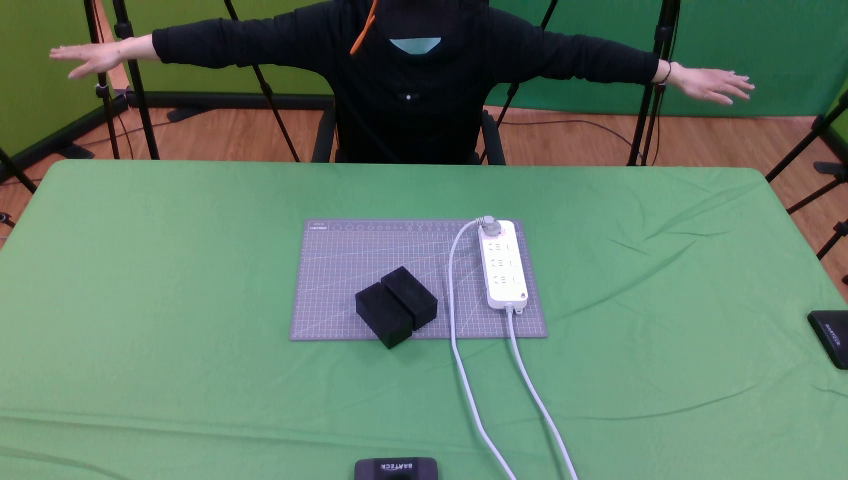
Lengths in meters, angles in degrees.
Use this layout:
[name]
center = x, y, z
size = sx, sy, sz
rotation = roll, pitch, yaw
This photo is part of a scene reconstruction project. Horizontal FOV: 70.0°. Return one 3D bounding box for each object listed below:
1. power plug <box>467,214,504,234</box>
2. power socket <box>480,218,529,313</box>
[power plug]
center = 0.120, -0.030, 1.185
size = 0.072, 0.053, 0.035
rotation = 8, 47, 5
[power socket]
center = 0.151, 0.040, 1.152
size = 0.072, 0.033, 0.225
rotation = 0, 47, -3
